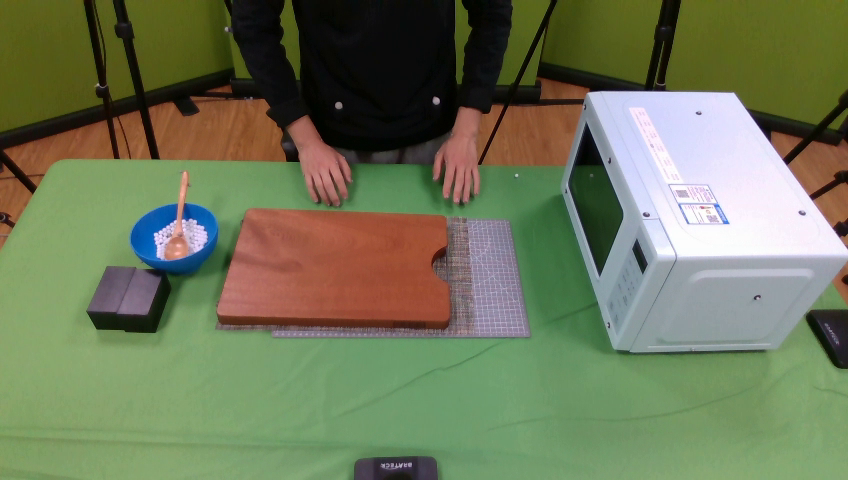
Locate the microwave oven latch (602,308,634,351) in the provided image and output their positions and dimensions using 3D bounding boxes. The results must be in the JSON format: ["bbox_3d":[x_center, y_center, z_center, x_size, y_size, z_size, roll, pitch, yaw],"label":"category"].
[{"bbox_3d":[0.332,0.153,1.044,0.030,0.029,0.078,-1,45,-4],"label":"microwave oven latch"}]

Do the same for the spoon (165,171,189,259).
[{"bbox_3d":[-0.452,-0.046,1.129,0.041,0.022,0.193,-1,69,-2],"label":"spoon"}]

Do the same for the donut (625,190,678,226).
[{"bbox_3d":[0.440,-0.062,1.172,0.099,0.048,0.098,-6,29,4],"label":"donut"}]

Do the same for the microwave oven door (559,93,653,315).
[{"bbox_3d":[0.327,-0.074,1.123,0.039,0.245,0.353,-1,46,-5],"label":"microwave oven door"}]

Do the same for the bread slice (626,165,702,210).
[{"bbox_3d":[0.454,-0.096,1.142,0.135,0.018,0.106,5,42,-19],"label":"bread slice"}]

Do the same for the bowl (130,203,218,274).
[{"bbox_3d":[-0.451,0.010,1.116,0.151,0.077,0.150,3,45,-2],"label":"bowl"}]

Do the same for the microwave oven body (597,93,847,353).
[{"bbox_3d":[0.475,-0.041,1.109,0.326,0.261,0.438,-1,45,-4],"label":"microwave oven body"}]

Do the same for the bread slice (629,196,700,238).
[{"bbox_3d":[0.473,-0.047,1.195,0.131,0.019,0.104,8,42,11],"label":"bread slice"}]
